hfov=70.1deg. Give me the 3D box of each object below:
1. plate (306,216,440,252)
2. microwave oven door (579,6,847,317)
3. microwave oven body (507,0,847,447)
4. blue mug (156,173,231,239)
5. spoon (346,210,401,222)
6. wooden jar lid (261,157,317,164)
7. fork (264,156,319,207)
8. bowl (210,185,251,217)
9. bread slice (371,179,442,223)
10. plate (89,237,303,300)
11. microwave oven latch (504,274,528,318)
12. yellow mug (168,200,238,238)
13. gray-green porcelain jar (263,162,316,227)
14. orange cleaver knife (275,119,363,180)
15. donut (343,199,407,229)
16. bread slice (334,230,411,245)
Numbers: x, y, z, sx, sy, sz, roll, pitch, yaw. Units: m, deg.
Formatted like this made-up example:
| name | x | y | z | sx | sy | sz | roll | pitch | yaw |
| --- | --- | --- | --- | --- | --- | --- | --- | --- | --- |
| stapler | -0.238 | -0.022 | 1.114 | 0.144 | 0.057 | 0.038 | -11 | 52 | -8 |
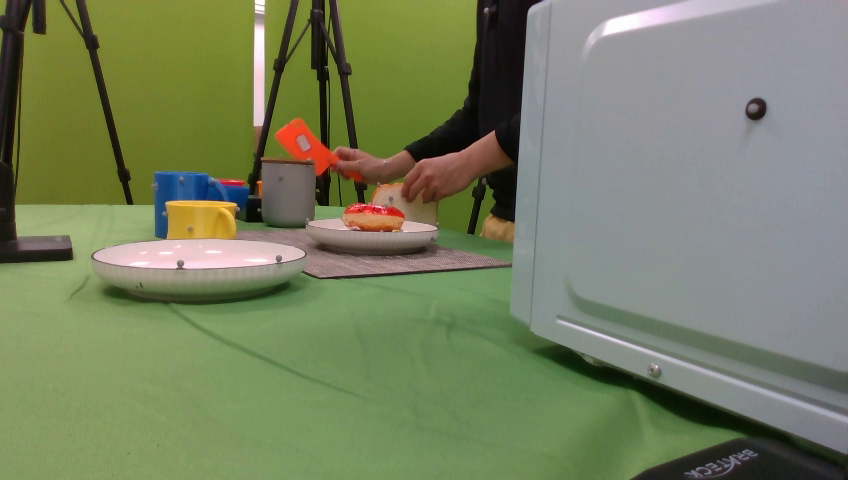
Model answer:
| name | x | y | z | sx | sy | sz | roll | pitch | yaw |
| --- | --- | --- | --- | --- | --- | --- | --- | --- | --- |
| plate | -0.080 | -0.011 | 0.949 | 0.209 | 0.038 | 0.209 | 2 | 8 | 0 |
| microwave oven door | 0.294 | -0.067 | 0.570 | 0.358 | 0.243 | 0.039 | -3 | 9 | -31 |
| microwave oven body | 0.331 | -0.042 | 0.425 | 0.444 | 0.260 | 0.324 | -2 | 8 | -31 |
| blue mug | -0.381 | -0.057 | 1.004 | 0.117 | 0.106 | 0.082 | 0 | 8 | -12 |
| spoon | -0.121 | -0.060 | 1.400 | 0.042 | 0.021 | 0.192 | -28 | 25 | -37 |
| wooden jar lid | -0.269 | -0.154 | 1.208 | 0.108 | 0.020 | 0.108 | 3 | 4 | 0 |
| fork | -0.331 | -0.143 | 1.505 | 0.207 | 0.018 | 0.028 | -42 | -20 | 22 |
| bowl | -0.408 | -0.064 | 1.155 | 0.151 | 0.077 | 0.151 | 2 | 8 | 0 |
| bread slice | -0.033 | -0.060 | 1.132 | 0.135 | 0.107 | 0.018 | -3 | 14 | -17 |
| plate | -0.233 | 0.029 | 0.637 | 0.208 | 0.039 | 0.207 | 2 | 7 | 0 |
| microwave oven latch | 0.100 | 0.041 | 0.471 | 0.079 | 0.029 | 0.030 | -1 | 8 | -28 |
| yellow mug | -0.320 | -0.023 | 0.904 | 0.130 | 0.064 | 0.100 | 9 | 10 | 36 |
| gray-green porcelain jar | -0.271 | -0.092 | 1.217 | 0.106 | 0.126 | 0.106 | 2 | 7 | 0 |
| orange cleaver knife | -0.232 | -0.185 | 1.347 | 0.212 | 0.077 | 0.012 | 37 | -8 | -23 |
| donut | -0.077 | -0.039 | 0.948 | 0.099 | 0.048 | 0.099 | 3 | 4 | 0 |
| bread slice | -0.075 | -0.005 | 0.937 | 0.105 | 0.019 | 0.131 | -2 | 4 | -20 |
